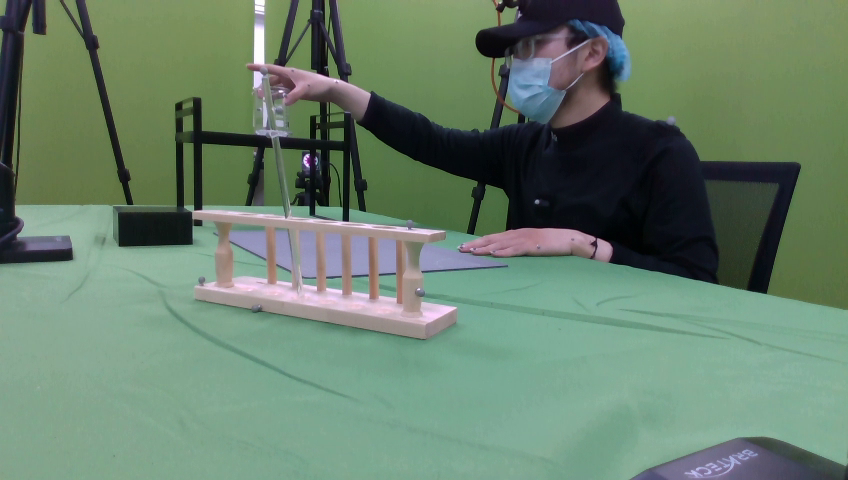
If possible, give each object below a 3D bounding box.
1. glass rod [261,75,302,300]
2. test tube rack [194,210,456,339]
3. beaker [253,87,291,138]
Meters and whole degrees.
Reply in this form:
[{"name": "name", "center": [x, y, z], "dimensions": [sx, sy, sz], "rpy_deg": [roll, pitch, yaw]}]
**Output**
[{"name": "glass rod", "center": [-0.124, -0.043, 0.531], "dimensions": [0.008, 0.199, 0.008], "rpy_deg": [-7, 8, 1]}, {"name": "test tube rack", "center": [-0.093, 0.023, 0.545], "dimensions": [0.241, 0.085, 0.067], "rpy_deg": [6, 8, 25]}, {"name": "beaker", "center": [-0.318, -0.264, 1.257], "dimensions": [0.073, 0.100, 0.084], "rpy_deg": [7, 9, 36]}]
